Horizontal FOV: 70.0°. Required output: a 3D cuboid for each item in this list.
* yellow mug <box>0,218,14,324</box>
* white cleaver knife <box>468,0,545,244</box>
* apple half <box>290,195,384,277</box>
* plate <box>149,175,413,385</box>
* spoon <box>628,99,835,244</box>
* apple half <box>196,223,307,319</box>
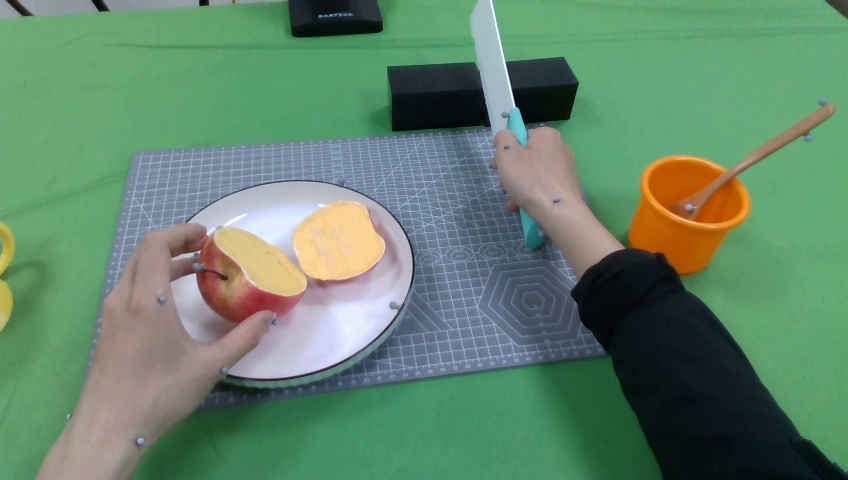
[{"bbox_3d":[-0.380,0.030,0.472,0.099,0.064,0.130,21,50,14],"label":"yellow mug"},{"bbox_3d":[0.078,-0.129,0.600,0.021,0.066,0.284,-3,69,-14],"label":"white cleaver knife"},{"bbox_3d":[-0.074,0.003,0.521,0.081,0.033,0.080,-1,62,2],"label":"apple half"},{"bbox_3d":[-0.114,0.030,0.503,0.209,0.038,0.207,2,50,-2],"label":"plate"},{"bbox_3d":[0.265,-0.058,0.530,0.022,0.194,0.041,28,32,-40],"label":"spoon"},{"bbox_3d":[-0.137,0.031,0.469,0.080,0.053,0.075,40,15,12],"label":"apple half"}]
